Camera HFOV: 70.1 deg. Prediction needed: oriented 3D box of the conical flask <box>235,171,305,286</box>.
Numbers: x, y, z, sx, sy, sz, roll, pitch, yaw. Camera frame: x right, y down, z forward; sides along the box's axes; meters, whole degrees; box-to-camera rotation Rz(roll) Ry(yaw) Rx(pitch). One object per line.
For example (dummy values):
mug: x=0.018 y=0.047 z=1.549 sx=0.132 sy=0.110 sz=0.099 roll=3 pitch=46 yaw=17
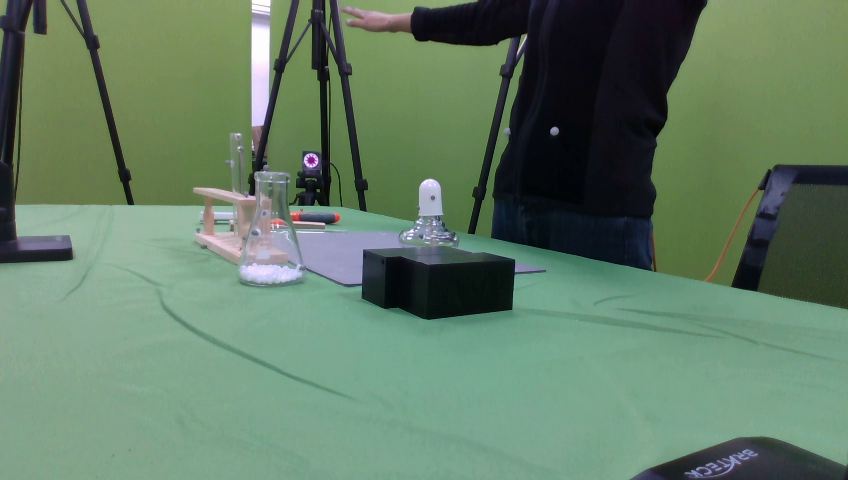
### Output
conical flask: x=-0.168 y=-0.014 z=0.663 sx=0.075 sy=0.122 sz=0.075 roll=2 pitch=7 yaw=0

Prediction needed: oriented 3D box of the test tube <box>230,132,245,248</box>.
test tube: x=-0.242 y=-0.065 z=0.789 sx=0.017 sy=0.150 sz=0.017 roll=0 pitch=7 yaw=0

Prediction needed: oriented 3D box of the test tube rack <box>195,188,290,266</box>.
test tube rack: x=-0.266 y=-0.025 z=0.864 sx=0.067 sy=0.085 sz=0.241 roll=-2 pitch=9 yaw=-33

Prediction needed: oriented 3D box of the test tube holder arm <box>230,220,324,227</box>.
test tube holder arm: x=-0.275 y=-0.030 z=1.145 sx=0.179 sy=0.015 sz=0.013 roll=-2 pitch=45 yaw=-31

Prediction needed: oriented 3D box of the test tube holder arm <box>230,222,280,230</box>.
test tube holder arm: x=-0.312 y=-0.025 z=1.118 sx=0.088 sy=0.015 sz=0.010 roll=-1 pitch=44 yaw=-30

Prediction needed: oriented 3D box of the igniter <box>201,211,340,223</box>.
igniter: x=-0.311 y=-0.047 z=1.243 sx=0.278 sy=0.025 sz=0.057 roll=-1 pitch=-2 yaw=-24

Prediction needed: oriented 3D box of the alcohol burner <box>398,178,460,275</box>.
alcohol burner: x=0.007 y=-0.017 z=0.751 sx=0.078 sy=0.119 sz=0.078 roll=3 pitch=9 yaw=0

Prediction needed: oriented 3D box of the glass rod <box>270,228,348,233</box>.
glass rod: x=-0.234 y=-0.017 z=1.105 sx=0.201 sy=0.008 sz=0.008 roll=1 pitch=7 yaw=-26

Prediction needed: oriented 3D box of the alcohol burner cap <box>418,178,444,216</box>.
alcohol burner cap: x=0.007 y=-0.053 z=0.745 sx=0.034 sy=0.048 sz=0.034 roll=-3 pitch=6 yaw=1
